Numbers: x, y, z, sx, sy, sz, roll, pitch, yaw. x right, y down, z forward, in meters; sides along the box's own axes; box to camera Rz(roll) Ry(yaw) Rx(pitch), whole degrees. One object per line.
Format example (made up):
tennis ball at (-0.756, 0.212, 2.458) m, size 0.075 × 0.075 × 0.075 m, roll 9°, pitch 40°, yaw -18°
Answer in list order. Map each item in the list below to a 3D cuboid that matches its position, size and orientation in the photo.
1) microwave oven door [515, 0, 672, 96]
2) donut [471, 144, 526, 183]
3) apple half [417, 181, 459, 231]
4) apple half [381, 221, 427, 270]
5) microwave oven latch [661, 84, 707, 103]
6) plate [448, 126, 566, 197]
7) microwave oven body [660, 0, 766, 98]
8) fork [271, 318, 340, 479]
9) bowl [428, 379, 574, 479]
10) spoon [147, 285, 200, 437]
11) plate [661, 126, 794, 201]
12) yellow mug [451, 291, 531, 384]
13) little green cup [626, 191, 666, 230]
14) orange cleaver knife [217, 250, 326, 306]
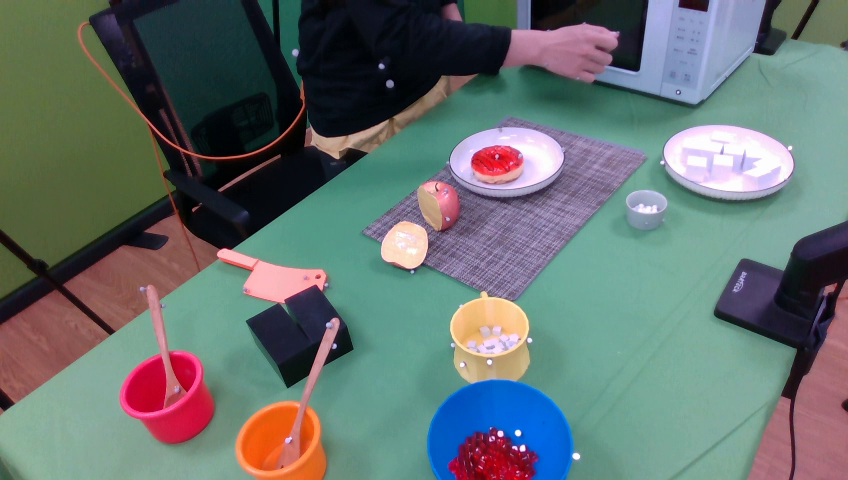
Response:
microwave oven door at (0.343, -0.455, 1.259) m, size 0.353 × 0.245 × 0.039 m, roll 26°, pitch 51°, yaw 33°
donut at (0.133, -0.139, 1.082) m, size 0.099 × 0.048 × 0.098 m, roll -5°, pitch 38°, yaw 4°
apple half at (0.030, -0.060, 0.995) m, size 0.053 × 0.075 × 0.080 m, roll -23°, pitch 39°, yaw -22°
apple half at (-0.025, 0.012, 0.946) m, size 0.081 × 0.033 × 0.081 m, roll -5°, pitch 73°, yaw 16°
microwave oven latch at (0.517, -0.296, 1.204) m, size 0.078 × 0.029 × 0.030 m, roll 27°, pitch 52°, yaw 35°
plate at (0.150, -0.138, 1.096) m, size 0.209 × 0.038 × 0.208 m, roll -4°, pitch 40°, yaw 4°
microwave oven body at (0.472, -0.513, 1.317) m, size 0.438 × 0.261 × 0.327 m, roll 26°, pitch 51°, yaw 34°
fork at (-0.132, 0.186, 0.676) m, size 0.028 × 0.019 × 0.207 m, roll 17°, pitch 90°, yaw 28°
bowl at (0.082, 0.233, 0.644) m, size 0.151 × 0.077 × 0.150 m, roll -4°, pitch 40°, yaw 4°
spoon at (-0.318, 0.148, 0.754) m, size 0.042 × 0.021 × 0.193 m, roll -15°, pitch 85°, yaw -9°
plate at (0.513, -0.128, 1.035) m, size 0.207 × 0.039 × 0.206 m, roll -4°, pitch 40°, yaw 4°
yellow mug at (0.085, 0.120, 0.786) m, size 0.100 × 0.064 × 0.130 m, roll -7°, pitch 39°, yaw 1°
little green cup at (0.352, -0.046, 0.963) m, size 0.061 × 0.039 × 0.061 m, roll -4°, pitch 40°, yaw 4°
orange cleaver knife at (-0.248, 0.059, 0.945) m, size 0.210 × 0.012 × 0.077 m, roll 12°, pitch 49°, yaw 20°
